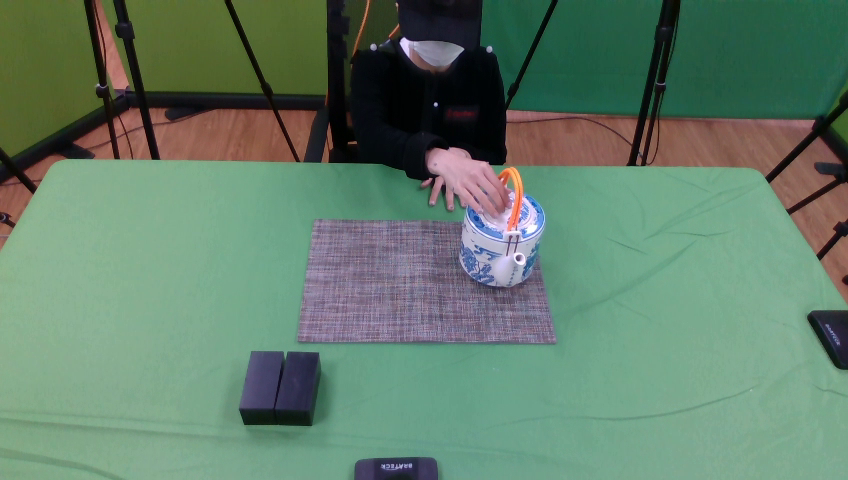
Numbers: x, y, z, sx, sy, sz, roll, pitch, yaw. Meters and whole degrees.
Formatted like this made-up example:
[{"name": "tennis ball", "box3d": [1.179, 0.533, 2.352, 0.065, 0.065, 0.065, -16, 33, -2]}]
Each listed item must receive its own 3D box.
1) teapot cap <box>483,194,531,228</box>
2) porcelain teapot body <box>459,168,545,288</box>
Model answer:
[{"name": "teapot cap", "box3d": [0.146, -0.055, 1.062, 0.085, 0.044, 0.084, 3, 48, -3]}, {"name": "porcelain teapot body", "box3d": [0.146, -0.006, 1.070, 0.145, 0.226, 0.204, -4, 46, -8]}]
